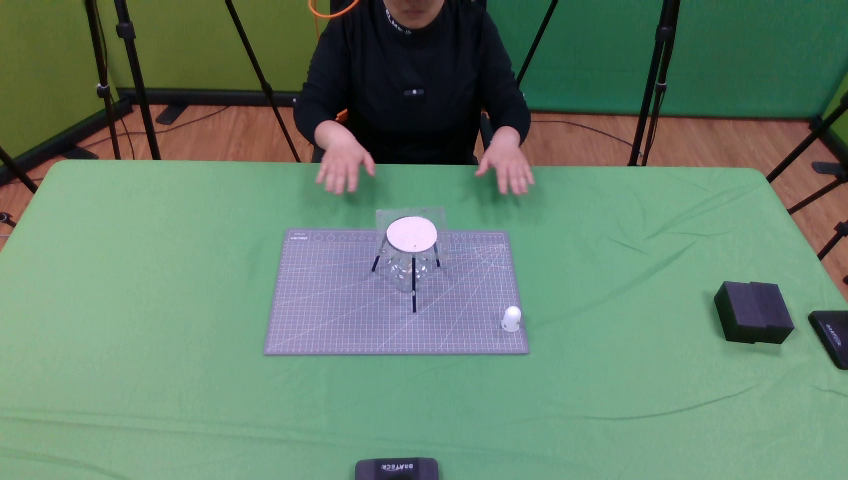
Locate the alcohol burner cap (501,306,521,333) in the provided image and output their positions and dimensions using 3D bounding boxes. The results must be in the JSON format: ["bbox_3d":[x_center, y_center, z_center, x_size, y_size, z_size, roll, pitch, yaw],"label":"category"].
[{"bbox_3d":[0.155,0.137,1.061,0.034,0.048,0.033,2,45,-1],"label":"alcohol burner cap"}]

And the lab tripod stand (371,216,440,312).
[{"bbox_3d":[-0.029,0.033,1.084,0.148,0.132,0.147,1,47,-1],"label":"lab tripod stand"}]

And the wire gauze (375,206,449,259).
[{"bbox_3d":[-0.023,-0.014,1.035,0.125,0.011,0.120,-1,46,-3],"label":"wire gauze"}]

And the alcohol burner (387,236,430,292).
[{"bbox_3d":[-0.028,0.038,1.093,0.078,0.120,0.077,1,46,-1],"label":"alcohol burner"}]
